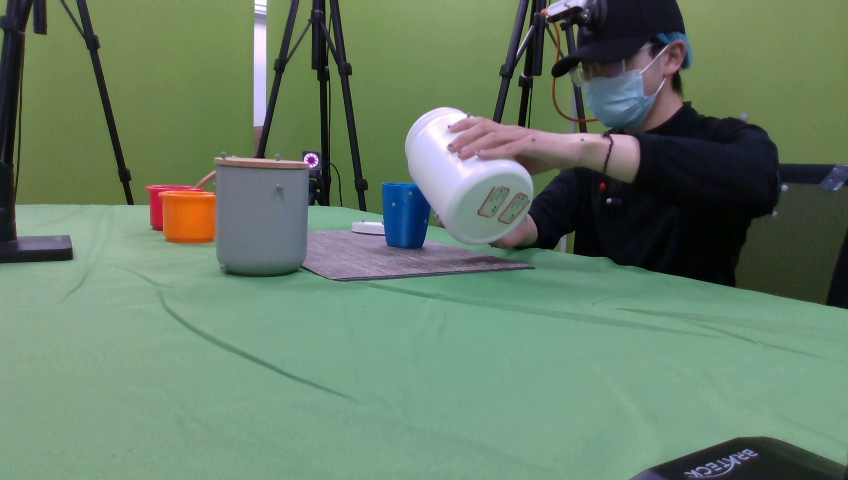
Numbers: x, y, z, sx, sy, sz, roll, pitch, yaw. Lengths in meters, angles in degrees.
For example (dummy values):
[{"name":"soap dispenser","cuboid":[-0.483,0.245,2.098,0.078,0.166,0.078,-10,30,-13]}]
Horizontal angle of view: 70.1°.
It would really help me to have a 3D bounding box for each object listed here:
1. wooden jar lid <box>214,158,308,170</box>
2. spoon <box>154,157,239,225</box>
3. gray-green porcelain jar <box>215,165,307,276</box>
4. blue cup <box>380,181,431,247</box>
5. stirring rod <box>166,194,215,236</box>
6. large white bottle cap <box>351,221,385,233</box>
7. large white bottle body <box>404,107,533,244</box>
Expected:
[{"name":"wooden jar lid","cuboid":[-0.193,-0.085,0.719,0.108,0.020,0.108,2,9,0]},{"name":"spoon","cuboid":[-0.411,-0.092,1.105,0.041,0.022,0.194,13,56,51]},{"name":"gray-green porcelain jar","cuboid":[-0.195,-0.024,0.726,0.106,0.126,0.106,3,7,0]},{"name":"blue cup","cuboid":[-0.028,-0.042,0.979,0.093,0.100,0.092,2,9,0]},{"name":"stirring rod","cuboid":[-0.341,-0.066,0.967,0.176,0.006,0.014,-42,23,-9]},{"name":"large white bottle cap","cuboid":[-0.082,-0.025,1.162,0.115,0.018,0.115,4,4,0]},{"name":"large white bottle body","cuboid":[0.054,-0.097,0.845,0.131,0.130,0.184,-2,38,-28]}]
